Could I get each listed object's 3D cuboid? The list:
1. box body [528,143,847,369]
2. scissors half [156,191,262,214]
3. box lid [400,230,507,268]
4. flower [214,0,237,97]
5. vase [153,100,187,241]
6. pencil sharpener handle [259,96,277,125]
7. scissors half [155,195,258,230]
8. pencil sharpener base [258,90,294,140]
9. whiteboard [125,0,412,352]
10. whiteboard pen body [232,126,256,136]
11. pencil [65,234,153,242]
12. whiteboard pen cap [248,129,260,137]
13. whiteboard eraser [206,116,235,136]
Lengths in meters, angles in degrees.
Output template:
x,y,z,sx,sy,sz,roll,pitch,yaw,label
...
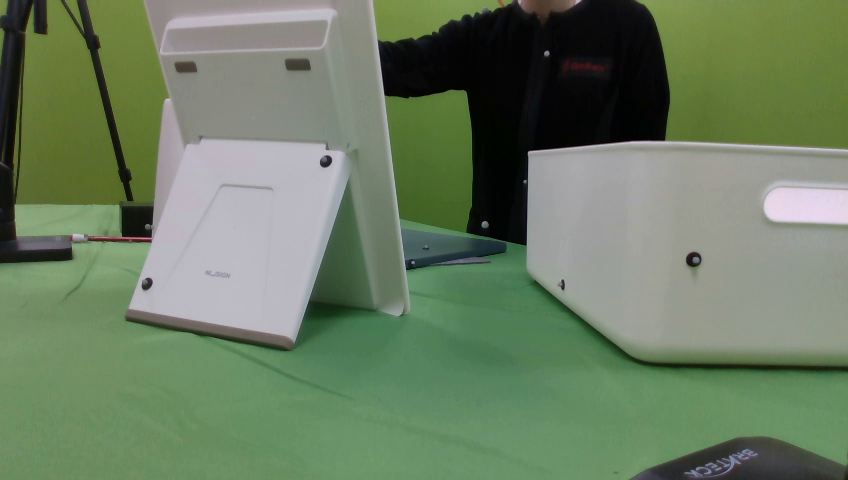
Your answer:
x,y,z,sx,sy,sz,roll,pitch,yaw,label
0.257,-0.005,0.591,0.254,0.160,0.363,2,7,-4,box body
-0.371,-0.068,1.051,0.176,0.040,0.013,2,25,-24,scissors half
-0.065,0.011,0.933,0.262,0.015,0.373,7,8,36,box lid
-0.222,-0.351,0.745,0.038,0.361,0.044,8,-6,16,flower
-0.278,-0.066,0.736,0.098,0.200,0.098,2,9,0,vase
-0.373,-0.304,1.425,0.036,0.067,0.030,13,-1,-37,pencil sharpener handle
-0.378,-0.051,1.058,0.176,0.040,0.012,20,21,-31,scissors half
-0.341,-0.285,1.388,0.062,0.107,0.076,-3,9,-36,pencil sharpener base
-0.151,-0.049,0.472,0.216,0.305,0.144,6,27,24,whiteboard
-0.407,-0.247,1.372,0.017,0.017,0.140,-3,13,-35,whiteboard pen body
-0.429,-0.001,0.911,0.195,0.012,0.012,1,8,-19,pencil
-0.373,-0.235,1.326,0.018,0.018,0.033,-3,12,-35,whiteboard pen cap
-0.449,-0.251,1.335,0.056,0.042,0.112,1,7,-22,whiteboard eraser
